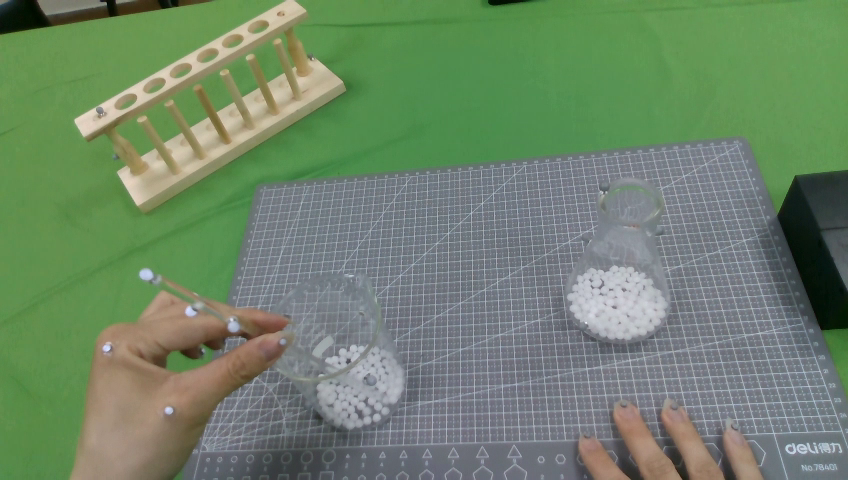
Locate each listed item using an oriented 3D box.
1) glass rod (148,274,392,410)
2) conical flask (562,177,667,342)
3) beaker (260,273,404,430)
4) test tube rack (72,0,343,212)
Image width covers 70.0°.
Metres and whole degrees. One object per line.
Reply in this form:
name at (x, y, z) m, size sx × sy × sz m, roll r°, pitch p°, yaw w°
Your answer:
glass rod at (-0.080, 0.070, 0.367) m, size 0.008 × 0.202 × 0.008 m, roll -22°, pitch 48°, yaw 26°
conical flask at (0.131, 0.011, 0.406) m, size 0.075 × 0.123 × 0.074 m, roll -6°, pitch 54°, yaw 8°
beaker at (-0.055, 0.078, 0.411) m, size 0.073 × 0.101 × 0.083 m, roll 20°, pitch 60°, yaw 24°
test tube rack at (-0.208, -0.138, 0.611) m, size 0.242 × 0.086 × 0.066 m, roll -36°, pitch 55°, yaw -14°
